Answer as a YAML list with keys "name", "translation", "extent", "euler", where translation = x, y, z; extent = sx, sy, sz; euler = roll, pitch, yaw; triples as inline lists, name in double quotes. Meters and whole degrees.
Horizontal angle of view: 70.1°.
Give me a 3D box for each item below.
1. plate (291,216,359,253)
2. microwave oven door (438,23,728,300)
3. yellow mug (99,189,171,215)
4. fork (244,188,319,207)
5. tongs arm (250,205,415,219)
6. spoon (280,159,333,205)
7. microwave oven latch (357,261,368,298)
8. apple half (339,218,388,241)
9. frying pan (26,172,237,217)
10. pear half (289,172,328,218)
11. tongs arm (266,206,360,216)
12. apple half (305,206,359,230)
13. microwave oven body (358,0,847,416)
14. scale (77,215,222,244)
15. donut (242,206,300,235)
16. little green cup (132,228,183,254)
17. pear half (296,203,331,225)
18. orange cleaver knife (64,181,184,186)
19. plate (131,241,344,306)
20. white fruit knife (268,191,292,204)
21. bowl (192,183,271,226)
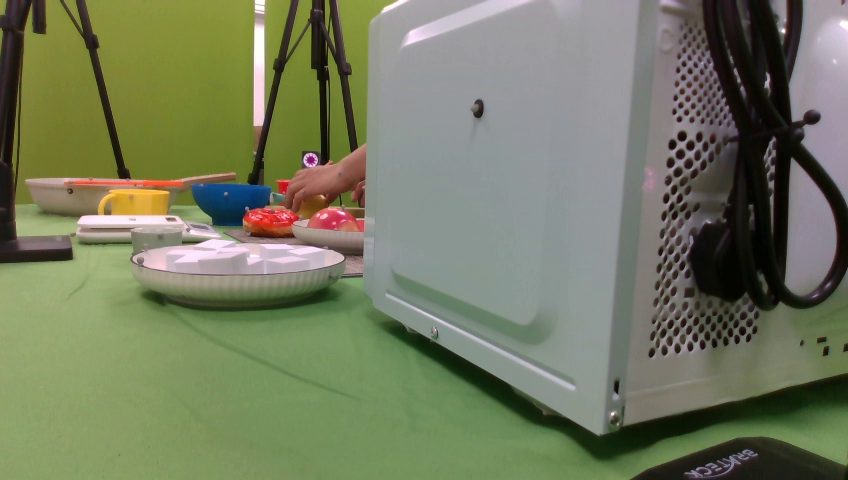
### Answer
- name: "plate"
  translation: [-0.103, -0.010, 0.945]
  extent: [0.209, 0.038, 0.209]
  euler: [2, 8, 0]
- name: "microwave oven door"
  translation: [0.181, -0.073, 0.621]
  extent: [0.358, 0.243, 0.039]
  euler: [-2, 8, -29]
- name: "yellow mug"
  translation: [-0.519, -0.055, 1.080]
  extent: [0.099, 0.064, 0.131]
  euler: [7, 9, 26]
- name: "fork"
  translation: [-0.356, -0.105, 1.526]
  extent: [0.208, 0.018, 0.028]
  euler: [16, -6, -41]
- name: "tongs arm"
  translation: [-0.212, -0.067, 1.440]
  extent: [0.389, 0.027, 0.028]
  euler: [0, -1, -17]
- name: "spoon"
  translation: [-0.317, -0.159, 1.640]
  extent: [0.194, 0.022, 0.041]
  euler: [-49, 32, -20]
- name: "microwave oven latch"
  translation: [-0.019, 0.033, 0.530]
  extent: [0.079, 0.029, 0.030]
  euler: [-1, 7, -26]
- name: "apple half"
  translation: [-0.096, -0.019, 0.984]
  extent: [0.081, 0.033, 0.081]
  euler: [2, 8, 0]
- name: "frying pan"
  translation: [-0.624, -0.118, 1.387]
  extent: [0.305, 0.102, 0.490]
  euler: [8, 17, 32]
- name: "pear half"
  translation: [-0.229, -0.077, 1.183]
  extent: [0.076, 0.110, 0.056]
  euler: [-2, 9, 0]
- name: "tongs arm"
  translation: [-0.174, -0.061, 1.363]
  extent: [0.387, 0.026, 0.050]
  euler: [-1, 2, -32]
- name: "apple half"
  translation: [-0.137, -0.024, 0.914]
  extent: [0.081, 0.053, 0.074]
  euler: [1, 8, -38]
- name: "microwave oven body"
  translation: [0.211, -0.047, 0.474]
  extent: [0.444, 0.260, 0.324]
  euler: [-1, 7, -28]
- name: "scale"
  translation: [-0.434, -0.019, 0.963]
  extent: [0.202, 0.031, 0.148]
  euler: [-1, 9, -27]
- name: "donut"
  translation: [-0.263, -0.032, 1.039]
  extent: [0.099, 0.048, 0.099]
  euler: [4, 10, 0]
- name: "little green cup"
  translation: [-0.342, 0.006, 0.779]
  extent: [0.061, 0.038, 0.061]
  euler: [2, 8, 0]
- name: "pear half"
  translation: [-0.229, -0.050, 1.258]
  extent: [0.070, 0.031, 0.088]
  euler: [-1, 20, -1]
- name: "orange cleaver knife"
  translation: [-0.595, -0.114, 1.212]
  extent: [0.212, 0.012, 0.077]
  euler: [-3, 7, -41]
- name: "plate"
  translation: [-0.187, 0.033, 0.625]
  extent: [0.208, 0.039, 0.207]
  euler: [2, 7, 0]
- name: "white fruit knife"
  translation: [-0.364, -0.105, 1.464]
  extent: [0.208, 0.027, 0.016]
  euler: [15, -1, -34]
- name: "bowl"
  translation: [-0.382, -0.071, 1.202]
  extent: [0.151, 0.077, 0.151]
  euler: [3, 7, 0]
